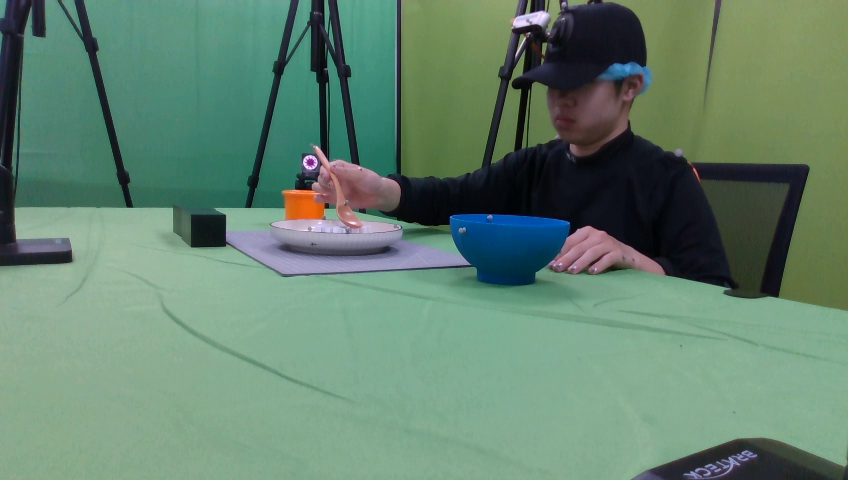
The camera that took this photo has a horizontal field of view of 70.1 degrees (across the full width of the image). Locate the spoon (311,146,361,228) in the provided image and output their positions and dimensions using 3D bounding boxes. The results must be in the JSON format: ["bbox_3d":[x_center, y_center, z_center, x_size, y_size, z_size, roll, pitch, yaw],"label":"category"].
[{"bbox_3d":[-0.145,-0.088,0.976,0.042,0.021,0.193,10,44,-44],"label":"spoon"}]

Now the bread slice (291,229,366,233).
[{"bbox_3d":[-0.143,-0.003,0.953,0.135,0.018,0.106,-1,8,-37],"label":"bread slice"}]

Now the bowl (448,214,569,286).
[{"bbox_3d":[0.102,0.012,0.758,0.151,0.077,0.151,2,7,0],"label":"bowl"}]

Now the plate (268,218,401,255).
[{"bbox_3d":[-0.140,-0.006,0.958,0.209,0.038,0.209,3,7,0],"label":"plate"}]
